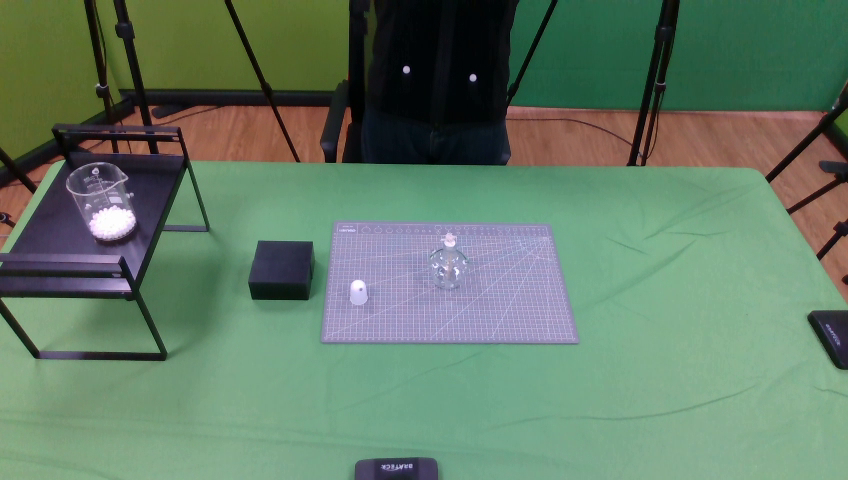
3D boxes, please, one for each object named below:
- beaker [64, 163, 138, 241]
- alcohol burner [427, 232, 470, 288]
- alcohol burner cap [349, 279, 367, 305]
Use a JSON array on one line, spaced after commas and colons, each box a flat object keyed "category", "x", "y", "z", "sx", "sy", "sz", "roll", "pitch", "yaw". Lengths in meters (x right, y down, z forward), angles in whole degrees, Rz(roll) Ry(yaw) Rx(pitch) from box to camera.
[{"category": "beaker", "x": -0.477, "y": -0.055, "z": 0.910, "sx": 0.084, "sy": 0.101, "sz": 0.073, "roll": -9, "pitch": 48, "yaw": -13}, {"category": "alcohol burner", "x": 0.045, "y": 0.032, "z": 1.099, "sx": 0.078, "sy": 0.120, "sz": 0.077, "roll": 0, "pitch": 46, "yaw": 0}, {"category": "alcohol burner cap", "x": -0.118, "y": 0.090, "z": 1.082, "sx": 0.034, "sy": 0.048, "sz": 0.033, "roll": 2, "pitch": 47, "yaw": -2}]
